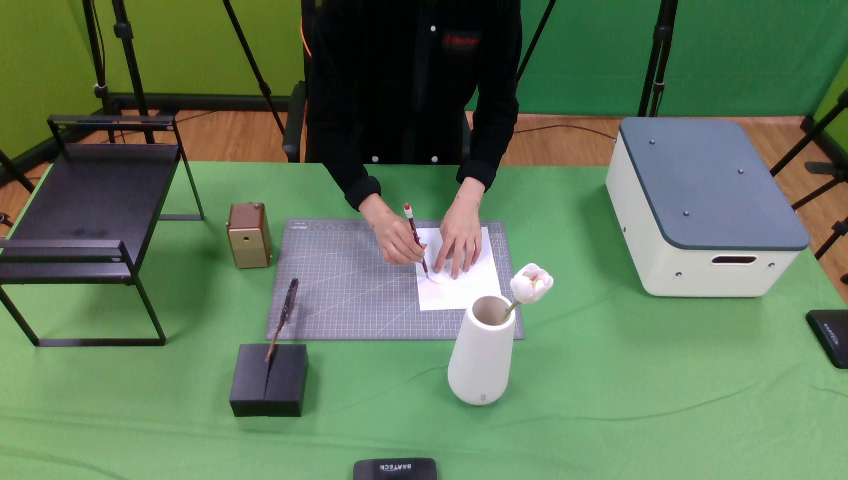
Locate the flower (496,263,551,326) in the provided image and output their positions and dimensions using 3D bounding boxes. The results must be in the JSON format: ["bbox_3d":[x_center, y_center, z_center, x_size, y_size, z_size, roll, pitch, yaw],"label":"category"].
[{"bbox_3d":[0.102,0.120,0.853,0.044,0.363,0.038,-1,64,-10],"label":"flower"}]

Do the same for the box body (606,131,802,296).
[{"bbox_3d":[0.530,-0.067,1.204,0.254,0.161,0.361,0,46,-4],"label":"box body"}]

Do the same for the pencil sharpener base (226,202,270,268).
[{"bbox_3d":[-0.323,-0.010,1.123,0.061,0.107,0.076,-3,46,-7],"label":"pencil sharpener base"}]

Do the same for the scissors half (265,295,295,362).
[{"bbox_3d":[-0.239,0.143,1.005,0.013,0.040,0.174,17,28,-7],"label":"scissors half"}]

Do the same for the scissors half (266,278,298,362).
[{"bbox_3d":[-0.234,0.127,0.993,0.013,0.040,0.174,12,46,-4],"label":"scissors half"}]

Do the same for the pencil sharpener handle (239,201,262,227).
[{"bbox_3d":[-0.325,-0.056,1.150,0.036,0.068,0.030,-13,46,3],"label":"pencil sharpener handle"}]

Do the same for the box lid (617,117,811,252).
[{"bbox_3d":[0.534,-0.117,1.148,0.263,0.015,0.369,0,47,-3],"label":"box lid"}]

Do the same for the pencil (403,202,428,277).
[{"bbox_3d":[-0.012,0.004,1.070,0.012,0.195,0.012,-8,46,8],"label":"pencil"}]

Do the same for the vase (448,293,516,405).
[{"bbox_3d":[0.091,0.169,0.921,0.098,0.201,0.097,3,47,-3],"label":"vase"}]
